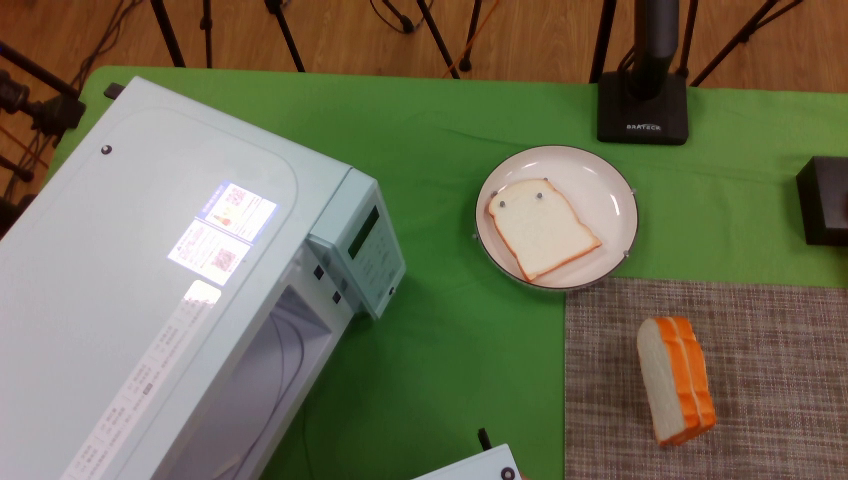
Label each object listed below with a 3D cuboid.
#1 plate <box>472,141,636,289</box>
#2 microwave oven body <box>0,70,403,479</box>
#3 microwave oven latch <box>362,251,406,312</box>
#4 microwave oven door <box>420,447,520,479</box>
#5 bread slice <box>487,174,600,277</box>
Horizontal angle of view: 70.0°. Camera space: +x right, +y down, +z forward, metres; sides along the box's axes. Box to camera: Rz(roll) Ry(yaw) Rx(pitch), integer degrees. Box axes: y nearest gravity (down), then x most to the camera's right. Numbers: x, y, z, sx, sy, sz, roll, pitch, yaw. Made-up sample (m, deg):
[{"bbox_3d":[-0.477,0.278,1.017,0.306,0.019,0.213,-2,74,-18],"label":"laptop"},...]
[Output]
[{"bbox_3d":[0.167,-0.031,0.790,0.207,0.039,0.206,-2,67,5],"label":"plate"},{"bbox_3d":[-0.274,0.099,0.654,0.324,0.262,0.440,24,72,14],"label":"microwave oven body"},{"bbox_3d":[-0.051,0.048,0.758,0.030,0.030,0.079,25,73,15],"label":"microwave oven latch"},{"bbox_3d":[-0.084,0.271,0.556,0.356,0.246,0.039,-21,66,-3],"label":"microwave oven door"},{"bbox_3d":[0.144,-0.024,0.787,0.107,0.018,0.133,-29,66,-10],"label":"bread slice"}]
